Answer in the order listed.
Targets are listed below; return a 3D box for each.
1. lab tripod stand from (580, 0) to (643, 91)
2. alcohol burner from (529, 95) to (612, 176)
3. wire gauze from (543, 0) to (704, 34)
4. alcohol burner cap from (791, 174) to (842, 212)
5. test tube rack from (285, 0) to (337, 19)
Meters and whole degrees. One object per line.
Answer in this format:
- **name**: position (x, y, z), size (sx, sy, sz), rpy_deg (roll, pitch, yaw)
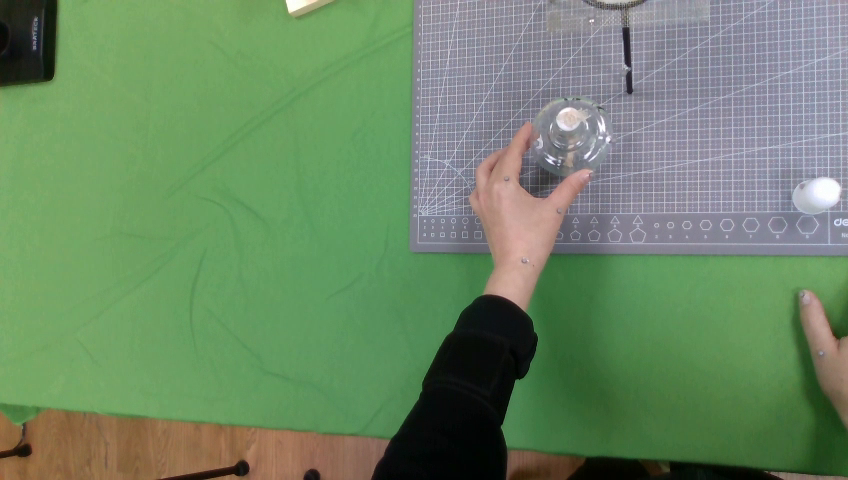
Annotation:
- **lab tripod stand**: position (0.175, -0.223, 0.546), size (0.148, 0.132, 0.148), rpy_deg (-1, 88, 15)
- **alcohol burner**: position (0.135, -0.100, 0.562), size (0.077, 0.119, 0.078), rpy_deg (-1, 86, 15)
- **wire gauze**: position (0.156, -0.228, 0.483), size (0.125, 0.011, 0.121), rpy_deg (0, 90, 14)
- **alcohol burner cap**: position (0.347, -0.043, 0.533), size (0.034, 0.048, 0.034), rpy_deg (-1, 86, 17)
- **test tube rack**: position (-0.064, -0.330, 0.650), size (0.242, 0.085, 0.066), rpy_deg (-17, 82, 15)
